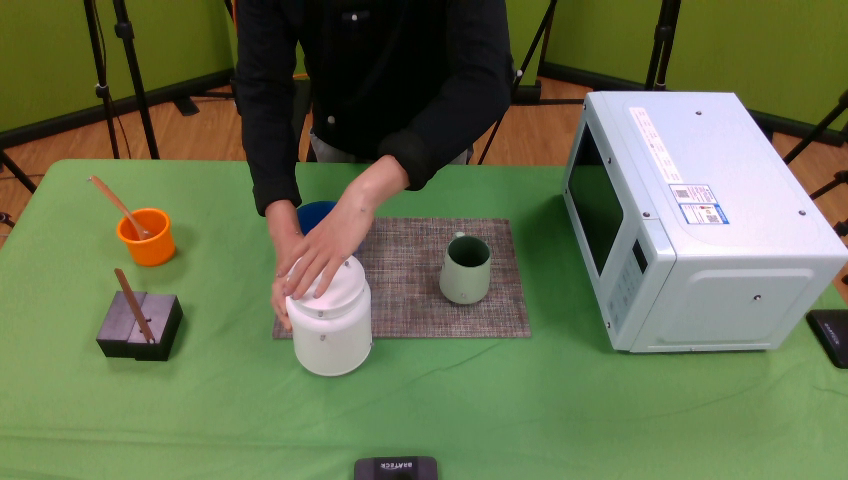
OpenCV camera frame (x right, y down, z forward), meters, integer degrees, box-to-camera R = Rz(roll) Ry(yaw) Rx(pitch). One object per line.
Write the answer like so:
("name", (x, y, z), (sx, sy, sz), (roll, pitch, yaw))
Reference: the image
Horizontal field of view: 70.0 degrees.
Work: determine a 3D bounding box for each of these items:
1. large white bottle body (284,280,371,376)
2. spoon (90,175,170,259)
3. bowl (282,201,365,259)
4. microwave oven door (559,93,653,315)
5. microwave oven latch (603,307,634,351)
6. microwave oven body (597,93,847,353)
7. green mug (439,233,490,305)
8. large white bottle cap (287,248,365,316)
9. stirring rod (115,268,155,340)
("large white bottle body", (-0.150, 0.116, 0.959), (0.131, 0.185, 0.130), (2, 48, -2))
("spoon", (-0.539, -0.042, 1.111), (0.021, 0.194, 0.041), (-15, 25, 51))
("bowl", (-0.186, 0.005, 1.138), (0.151, 0.077, 0.150), (3, 46, -3))
("microwave oven door", (0.327, -0.074, 1.123), (0.039, 0.245, 0.353), (-1, 46, -5))
("microwave oven latch", (0.332, 0.153, 1.044), (0.030, 0.029, 0.078), (0, 45, -4))
("microwave oven body", (0.475, -0.041, 1.109), (0.326, 0.261, 0.438), (-1, 45, -4))
("green mug", (0.072, 0.044, 1.101), (0.092, 0.105, 0.124), (-6, 46, -9))
("large white bottle cap", (-0.144, 0.060, 0.895), (0.115, 0.018, 0.114), (2, 49, -2))
("stirring rod", (-0.479, 0.102, 0.999), (0.014, 0.006, 0.175), (8, 32, -49))
